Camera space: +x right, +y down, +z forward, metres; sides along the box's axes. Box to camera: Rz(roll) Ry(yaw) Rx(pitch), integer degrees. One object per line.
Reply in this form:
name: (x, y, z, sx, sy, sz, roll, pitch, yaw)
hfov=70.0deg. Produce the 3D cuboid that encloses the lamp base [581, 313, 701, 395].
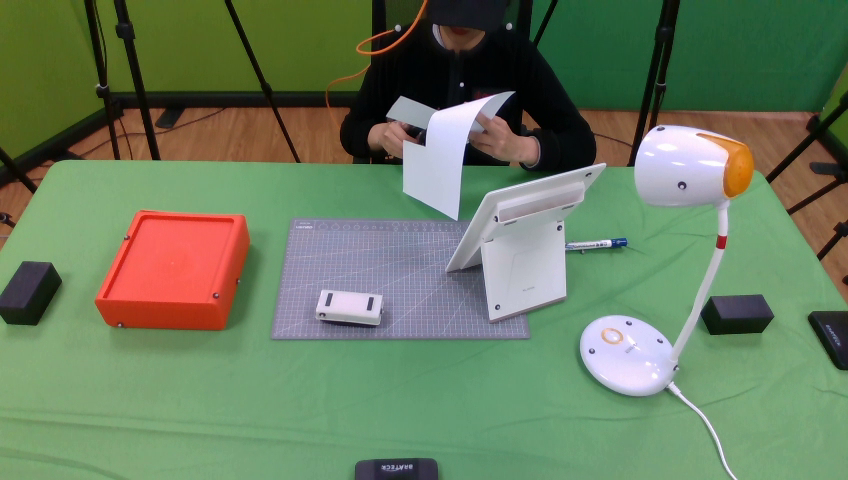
lamp base: (0.361, 0.144, 0.972, 0.178, 0.181, 0.160, 34, 53, 23)

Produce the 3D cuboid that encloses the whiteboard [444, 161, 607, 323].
whiteboard: (0.186, 0.025, 1.029, 0.217, 0.306, 0.143, -14, 68, -18)

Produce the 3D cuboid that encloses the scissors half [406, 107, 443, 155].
scissors half: (0.002, -0.226, 1.266, 0.013, 0.175, 0.040, 2, 66, -25)

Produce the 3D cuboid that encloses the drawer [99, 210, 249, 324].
drawer: (-0.435, 0.044, 1.081, 0.194, 0.073, 0.210, 3, 47, -2)

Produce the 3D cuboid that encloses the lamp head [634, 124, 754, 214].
lamp head: (0.351, -0.089, 0.776, 0.112, 0.113, 0.122, -30, 30, -28)

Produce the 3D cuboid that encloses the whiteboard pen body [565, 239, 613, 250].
whiteboard pen body: (0.331, 0.008, 1.211, 0.141, 0.017, 0.017, -5, 47, -4)

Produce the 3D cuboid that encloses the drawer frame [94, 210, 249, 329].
drawer frame: (-0.434, 0.048, 1.076, 0.202, 0.083, 0.212, 2, 47, -3)

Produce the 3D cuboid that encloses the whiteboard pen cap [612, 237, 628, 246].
whiteboard pen cap: (0.390, 0.004, 1.215, 0.033, 0.018, 0.018, -7, 47, -2)

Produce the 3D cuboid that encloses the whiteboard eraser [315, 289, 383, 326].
whiteboard eraser: (-0.130, 0.119, 1.054, 0.113, 0.042, 0.055, 6, 47, 1)

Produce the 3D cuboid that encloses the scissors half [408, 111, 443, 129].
scissors half: (0.003, -0.250, 1.269, 0.013, 0.040, 0.174, 7, 9, -24)
